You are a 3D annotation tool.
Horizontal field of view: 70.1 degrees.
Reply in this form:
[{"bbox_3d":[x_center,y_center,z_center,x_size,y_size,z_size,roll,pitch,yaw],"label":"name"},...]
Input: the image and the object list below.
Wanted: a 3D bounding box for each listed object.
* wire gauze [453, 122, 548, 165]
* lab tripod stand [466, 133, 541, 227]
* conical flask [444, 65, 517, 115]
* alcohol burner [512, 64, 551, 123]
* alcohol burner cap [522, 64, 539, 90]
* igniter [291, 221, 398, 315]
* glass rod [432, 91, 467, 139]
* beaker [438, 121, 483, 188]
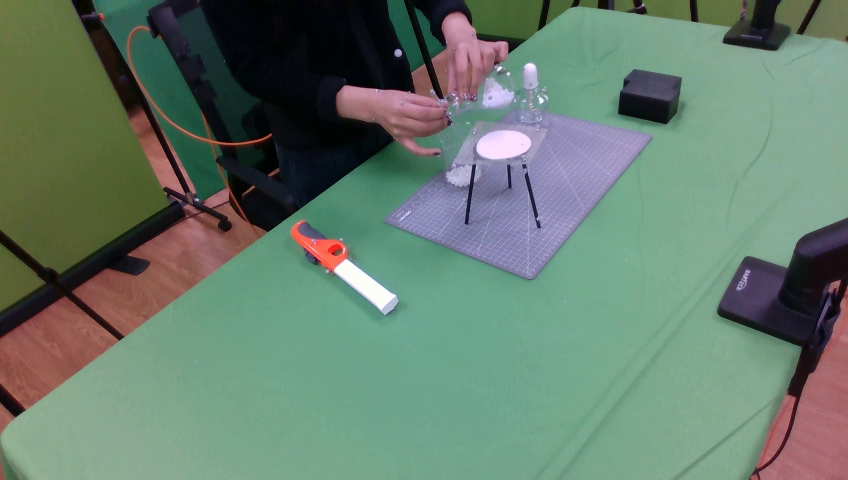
[{"bbox_3d":[0.121,-0.150,0.942,0.121,0.011,0.125,8,42,21],"label":"wire gauze"},{"bbox_3d":[0.129,-0.099,0.985,0.148,0.132,0.147,-6,38,6],"label":"lab tripod stand"},{"bbox_3d":[0.092,-0.247,1.026,0.122,0.075,0.074,-26,43,-28],"label":"conical flask"},{"bbox_3d":[0.215,-0.298,1.220,0.078,0.120,0.077,-7,40,7],"label":"alcohol burner"},{"bbox_3d":[0.210,-0.324,1.195,0.034,0.048,0.033,-7,45,7],"label":"alcohol burner cap"},{"bbox_3d":[-0.136,0.037,0.962,0.057,0.025,0.274,-41,48,-18],"label":"igniter"},{"bbox_3d":[0.046,-0.204,1.004,0.008,0.201,0.008,-4,78,18],"label":"glass rod"},{"bbox_3d":[0.066,-0.149,1.083,0.073,0.101,0.084,19,49,31],"label":"beaker"}]
